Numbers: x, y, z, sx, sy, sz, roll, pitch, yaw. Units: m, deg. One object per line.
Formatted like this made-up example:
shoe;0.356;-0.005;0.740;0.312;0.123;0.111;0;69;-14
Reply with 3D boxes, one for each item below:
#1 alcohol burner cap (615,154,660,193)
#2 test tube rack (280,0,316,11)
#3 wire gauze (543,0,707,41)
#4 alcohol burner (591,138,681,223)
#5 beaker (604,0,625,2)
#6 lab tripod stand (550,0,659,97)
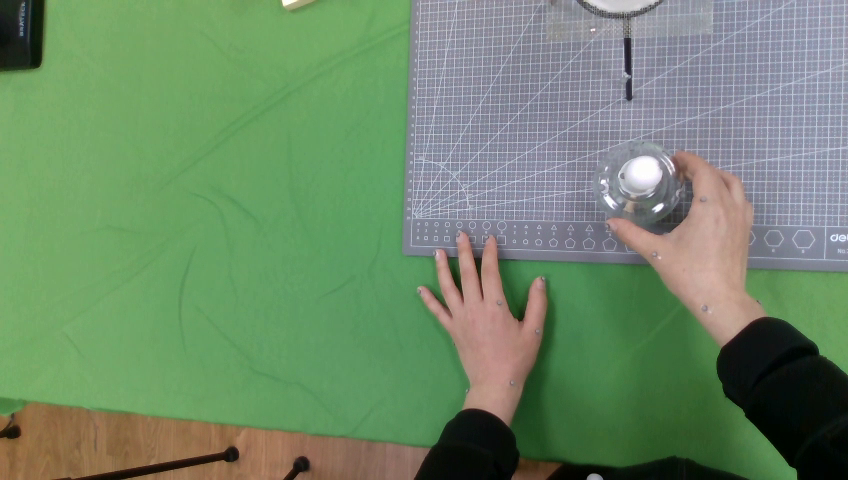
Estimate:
alcohol burner cap;0.178;-0.056;0.500;0.034;0.048;0.034;0;90;11
test tube rack;-0.065;-0.328;0.631;0.242;0.085;0.066;-16;84;15
wire gauze;0.155;-0.217;0.470;0.125;0.011;0.121;1;92;13
alcohol burner;0.188;-0.054;0.535;0.077;0.119;0.078;0;88;14
beaker;0.136;-0.219;0.425;0.083;0.100;0.074;16;93;16
lab tripod stand;0.173;-0.214;0.533;0.148;0.132;0.148;0;89;14
